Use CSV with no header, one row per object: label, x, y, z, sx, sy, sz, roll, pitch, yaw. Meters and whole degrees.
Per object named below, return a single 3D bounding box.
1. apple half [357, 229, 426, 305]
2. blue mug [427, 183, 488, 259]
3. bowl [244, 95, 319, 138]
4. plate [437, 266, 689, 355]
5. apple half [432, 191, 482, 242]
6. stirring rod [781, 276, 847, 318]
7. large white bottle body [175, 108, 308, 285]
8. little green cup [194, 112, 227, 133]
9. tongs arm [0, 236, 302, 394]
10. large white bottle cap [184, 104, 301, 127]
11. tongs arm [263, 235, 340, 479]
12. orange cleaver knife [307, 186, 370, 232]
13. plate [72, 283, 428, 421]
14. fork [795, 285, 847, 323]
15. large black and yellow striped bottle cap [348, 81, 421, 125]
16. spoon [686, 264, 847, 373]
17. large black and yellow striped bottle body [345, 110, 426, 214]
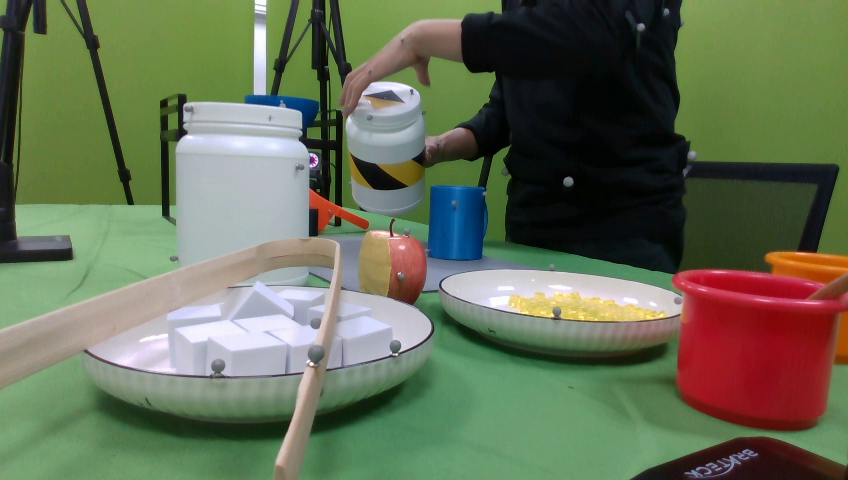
apple half,-0.026,0.028,0.570,0.053,0.074,0.080,2,2,-28
blue mug,0.059,-0.031,0.907,0.082,0.106,0.117,9,9,42
bowl,-0.293,-0.251,1.249,0.151,0.077,0.151,2,8,0
plate,0.114,0.057,0.517,0.209,0.038,0.209,3,7,0
apple half,0.048,-0.036,0.906,0.081,0.081,0.033,2,14,1
stirring rod,0.344,0.019,0.461,0.014,0.006,0.176,-13,-27,-30
large white bottle body,-0.188,-0.042,0.630,0.131,0.184,0.130,2,8,0
little green cup,-0.412,-0.228,1.171,0.061,0.038,0.061,2,8,0
tongs arm,-0.157,0.038,0.351,0.028,0.028,0.388,-3,8,11
large white bottle cap,-0.184,-0.126,0.618,0.115,0.018,0.115,2,8,0
tongs arm,-0.074,0.039,0.349,0.051,0.026,0.384,-2,9,-3
orange cleaver knife,-0.196,-0.056,1.140,0.212,0.077,0.012,29,0,-34
plate,-0.102,0.066,0.381,0.208,0.039,0.207,2,7,0
fork,0.332,0.018,0.443,0.028,0.018,0.207,-1,-36,-15
large black and yellow striped bottle cap,-0.062,-0.216,0.949,0.115,0.019,0.115,0,41,0
spoon,0.215,0.032,0.328,0.042,0.021,0.193,-3,-35,-26
large black and yellow striped bottle body,-0.062,-0.151,1.003,0.131,0.184,0.130,0,40,0
